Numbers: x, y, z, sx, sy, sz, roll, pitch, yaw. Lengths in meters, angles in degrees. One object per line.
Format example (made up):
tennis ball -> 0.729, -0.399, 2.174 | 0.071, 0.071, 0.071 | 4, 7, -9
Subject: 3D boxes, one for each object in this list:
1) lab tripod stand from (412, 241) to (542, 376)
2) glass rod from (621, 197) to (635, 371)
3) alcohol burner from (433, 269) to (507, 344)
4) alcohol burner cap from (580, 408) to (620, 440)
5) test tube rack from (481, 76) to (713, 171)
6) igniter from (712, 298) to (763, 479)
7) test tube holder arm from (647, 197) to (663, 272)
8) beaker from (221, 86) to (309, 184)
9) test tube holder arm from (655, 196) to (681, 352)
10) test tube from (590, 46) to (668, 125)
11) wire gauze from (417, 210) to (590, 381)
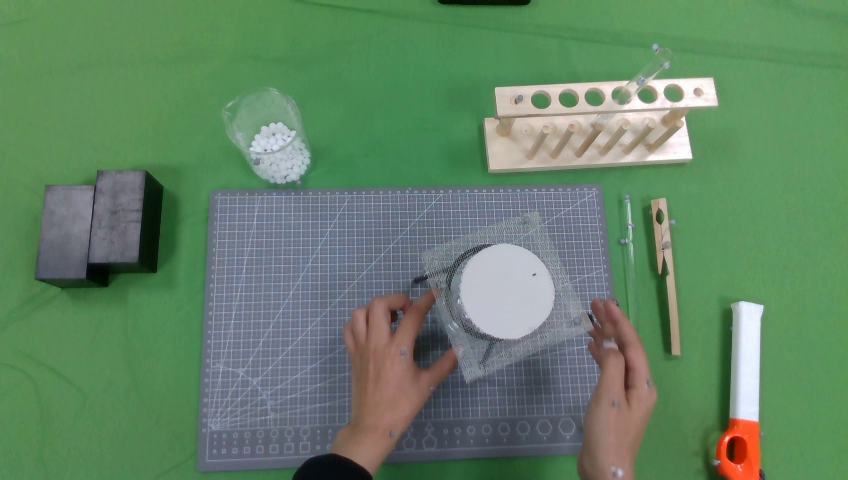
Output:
lab tripod stand -> 0.054, 0.060, 0.606 | 0.148, 0.132, 0.147 | 0, 77, -1
glass rod -> 0.232, 0.047, 0.689 | 0.008, 0.008, 0.199 | 2, 79, -4
alcohol burner -> 0.048, 0.064, 0.615 | 0.078, 0.119, 0.077 | 1, 74, -2
alcohol burner cap -> 0.185, 0.192, 0.629 | 0.034, 0.048, 0.033 | 1, 76, -3
test tube rack -> 0.193, -0.130, 0.689 | 0.243, 0.085, 0.066 | -4, 76, -4
igniter -> 0.336, 0.200, 0.648 | 0.057, 0.025, 0.275 | 12, 76, -11
test tube holder arm -> 0.268, -0.006, 0.699 | 0.010, 0.015, 0.087 | -10, 75, 29
beaker -> -0.167, -0.109, 0.653 | 0.084, 0.100, 0.073 | 17, 75, 1
test tube holder arm -> 0.275, 0.037, 0.686 | 0.013, 0.015, 0.177 | -10, 75, 29
test tube -> 0.214, -0.159, 0.647 | 0.017, 0.150, 0.017 | 2, 75, -9
wire gauze -> 0.069, 0.045, 0.541 | 0.121, 0.011, 0.124 | -20, 78, -7
